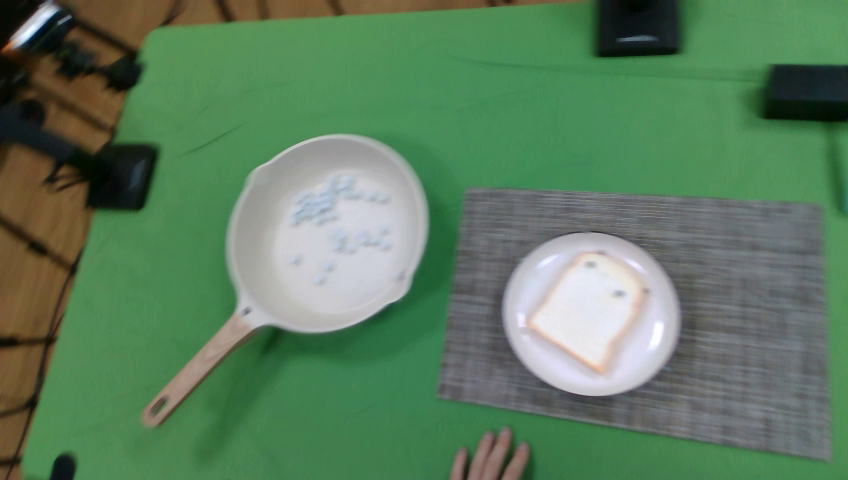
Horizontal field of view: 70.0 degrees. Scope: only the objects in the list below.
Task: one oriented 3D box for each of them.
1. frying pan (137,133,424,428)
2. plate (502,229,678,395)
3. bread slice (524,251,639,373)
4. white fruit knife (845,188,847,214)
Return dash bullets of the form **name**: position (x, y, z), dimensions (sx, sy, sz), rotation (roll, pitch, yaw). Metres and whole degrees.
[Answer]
- **frying pan**: position (-0.205, 0.065, 0.837), dimensions (0.304, 0.103, 0.487), rotation (39, 76, 23)
- **plate**: position (0.203, 0.089, 0.754), dimensions (0.207, 0.039, 0.206), rotation (-5, 71, 14)
- **bread slice**: position (0.202, 0.082, 0.759), dimensions (0.106, 0.018, 0.134), rotation (29, 83, 20)
- **white fruit knife**: position (0.523, -0.135, 0.726), dimensions (0.016, 0.027, 0.207), rotation (6, 88, 18)
